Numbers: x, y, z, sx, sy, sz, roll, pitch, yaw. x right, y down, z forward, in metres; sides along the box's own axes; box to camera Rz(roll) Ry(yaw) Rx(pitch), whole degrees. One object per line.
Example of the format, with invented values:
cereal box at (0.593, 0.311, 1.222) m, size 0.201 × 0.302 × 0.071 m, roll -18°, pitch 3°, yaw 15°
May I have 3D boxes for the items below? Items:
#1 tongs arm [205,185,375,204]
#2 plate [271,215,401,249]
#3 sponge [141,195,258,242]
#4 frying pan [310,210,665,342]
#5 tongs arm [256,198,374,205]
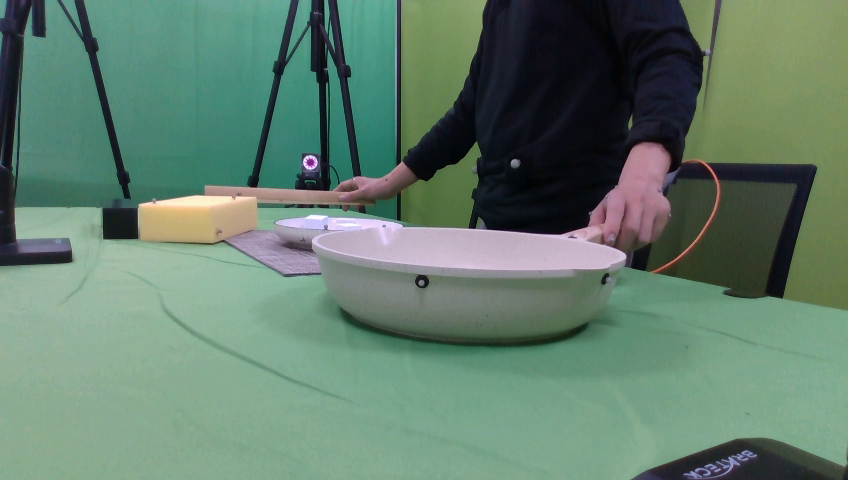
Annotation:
tongs arm at (-0.287, -0.102, 1.357) m, size 0.389 × 0.027 × 0.028 m, roll 1°, pitch -6°, yaw -26°
plate at (-0.141, -0.012, 0.978) m, size 0.208 × 0.039 × 0.207 m, roll 3°, pitch 7°, yaw 0°
sponge at (-0.380, -0.040, 1.047) m, size 0.118 × 0.061 × 0.207 m, roll 1°, pitch 8°, yaw 3°
frying pan at (0.120, 0.011, 0.643) m, size 0.490 × 0.102 × 0.305 m, roll -14°, pitch 16°, yaw -36°
tongs arm at (-0.310, -0.101, 1.429) m, size 0.386 × 0.026 × 0.050 m, roll 1°, pitch -3°, yaw -15°
